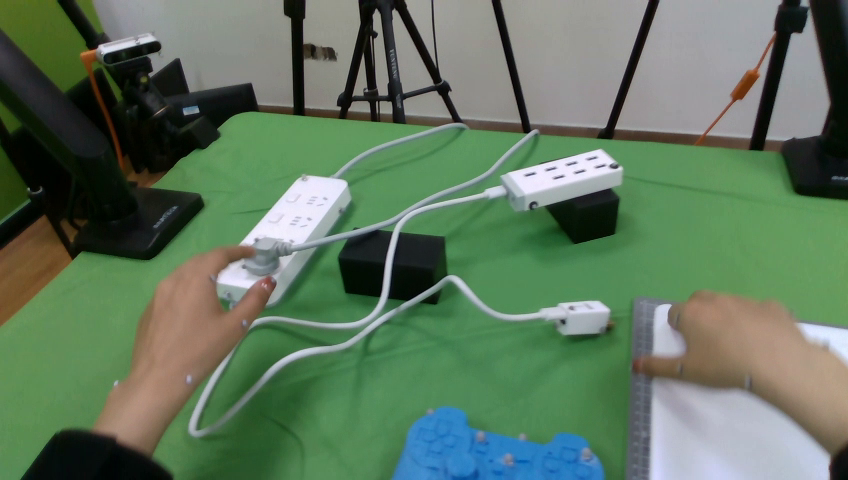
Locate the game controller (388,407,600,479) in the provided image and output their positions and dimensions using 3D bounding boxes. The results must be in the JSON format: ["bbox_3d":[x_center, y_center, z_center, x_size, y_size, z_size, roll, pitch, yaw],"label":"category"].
[{"bbox_3d":[0.051,0.174,0.440,0.154,0.052,0.096,9,36,16],"label":"game controller"}]

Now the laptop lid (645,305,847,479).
[{"bbox_3d":[0.346,0.155,0.434,0.355,0.013,0.240,9,43,17],"label":"laptop lid"}]

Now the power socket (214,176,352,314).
[{"bbox_3d":[-0.155,-0.005,0.696,0.072,0.033,0.225,10,41,17],"label":"power socket"}]

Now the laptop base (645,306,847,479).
[{"bbox_3d":[0.347,0.163,0.443,0.353,0.023,0.234,8,44,15],"label":"laptop base"}]

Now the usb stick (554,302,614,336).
[{"bbox_3d":[0.153,0.073,0.564,0.059,0.027,0.021,2,18,-23],"label":"usb stick"}]

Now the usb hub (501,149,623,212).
[{"bbox_3d":[0.151,-0.065,0.666,0.125,0.025,0.049,-16,41,-11],"label":"usb hub"}]

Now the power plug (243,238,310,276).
[{"bbox_3d":[-0.152,0.026,0.619,0.072,0.053,0.035,19,44,23],"label":"power plug"}]
